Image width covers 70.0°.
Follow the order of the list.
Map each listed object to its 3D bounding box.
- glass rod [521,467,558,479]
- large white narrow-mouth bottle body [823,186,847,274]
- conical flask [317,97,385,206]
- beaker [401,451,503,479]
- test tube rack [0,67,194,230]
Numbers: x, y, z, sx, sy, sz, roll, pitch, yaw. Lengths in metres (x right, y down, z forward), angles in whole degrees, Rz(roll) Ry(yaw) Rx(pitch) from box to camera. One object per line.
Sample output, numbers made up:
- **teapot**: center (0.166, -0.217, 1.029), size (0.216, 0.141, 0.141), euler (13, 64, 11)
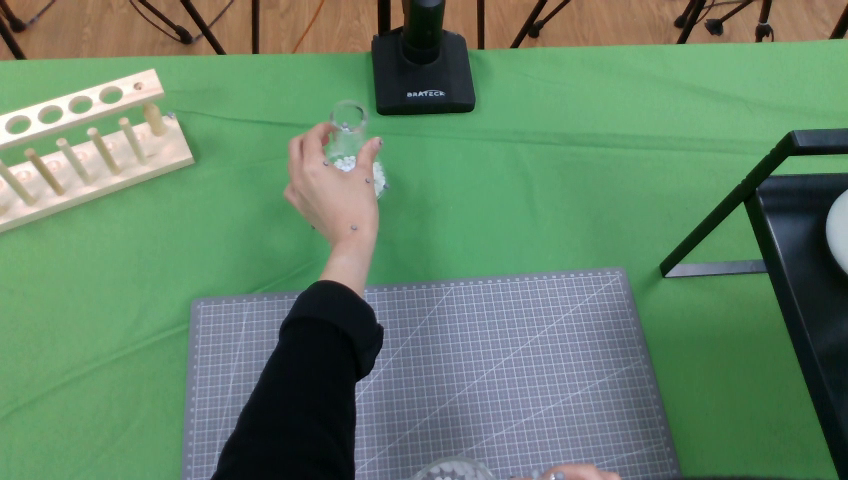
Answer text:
- **glass rod**: center (0.047, 0.189, 0.444), size (0.008, 0.200, 0.008), euler (10, 57, -15)
- **large white narrow-mouth bottle body**: center (0.368, -0.039, 0.398), size (0.102, 0.196, 0.101), euler (1, 63, -2)
- **conical flask**: center (-0.077, -0.094, 0.625), size (0.075, 0.122, 0.074), euler (2, 63, -3)
- **beaker**: center (0.019, 0.216, 0.493), size (0.084, 0.101, 0.073), euler (17, 63, 5)
- **test tube rack**: center (-0.374, -0.086, 0.615), size (0.242, 0.086, 0.066), euler (-23, 68, -15)
